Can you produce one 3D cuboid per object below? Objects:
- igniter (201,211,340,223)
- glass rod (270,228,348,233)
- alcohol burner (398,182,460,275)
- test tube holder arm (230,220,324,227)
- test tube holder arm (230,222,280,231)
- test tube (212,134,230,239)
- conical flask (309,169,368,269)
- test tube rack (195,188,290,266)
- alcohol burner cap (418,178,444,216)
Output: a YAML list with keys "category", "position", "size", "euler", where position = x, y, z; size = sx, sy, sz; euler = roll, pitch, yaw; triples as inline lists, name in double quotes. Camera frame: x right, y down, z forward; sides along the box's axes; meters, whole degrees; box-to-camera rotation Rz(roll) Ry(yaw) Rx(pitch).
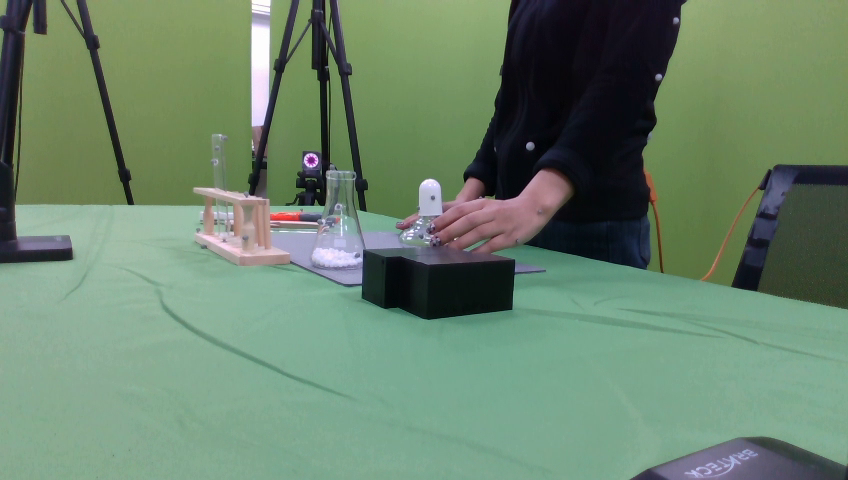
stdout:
- category: "igniter"
  position: [-0.311, -0.047, 1.243]
  size: [0.278, 0.025, 0.057]
  euler: [-1, -2, -24]
- category: "glass rod"
  position: [-0.234, -0.017, 1.105]
  size: [0.201, 0.008, 0.008]
  euler: [1, 7, -26]
- category: "alcohol burner"
  position: [0.007, -0.017, 0.751]
  size: [0.078, 0.119, 0.078]
  euler: [3, 9, 0]
- category: "test tube holder arm"
  position: [-0.275, -0.030, 1.145]
  size: [0.179, 0.015, 0.013]
  euler: [-2, 45, -31]
- category: "test tube holder arm"
  position: [-0.312, -0.025, 1.118]
  size: [0.088, 0.015, 0.010]
  euler: [-1, 44, -30]
- category: "test tube"
  position: [-0.290, -0.076, 0.863]
  size: [0.017, 0.150, 0.017]
  euler: [-2, 6, 0]
- category: "conical flask"
  position: [-0.107, -0.028, 0.762]
  size: [0.075, 0.122, 0.075]
  euler: [2, 7, 0]
- category: "test tube rack"
  position: [-0.266, -0.025, 0.864]
  size: [0.067, 0.085, 0.241]
  euler: [-2, 9, -33]
- category: "alcohol burner cap"
  position: [0.007, -0.053, 0.745]
  size: [0.034, 0.048, 0.034]
  euler: [-3, 6, 1]
